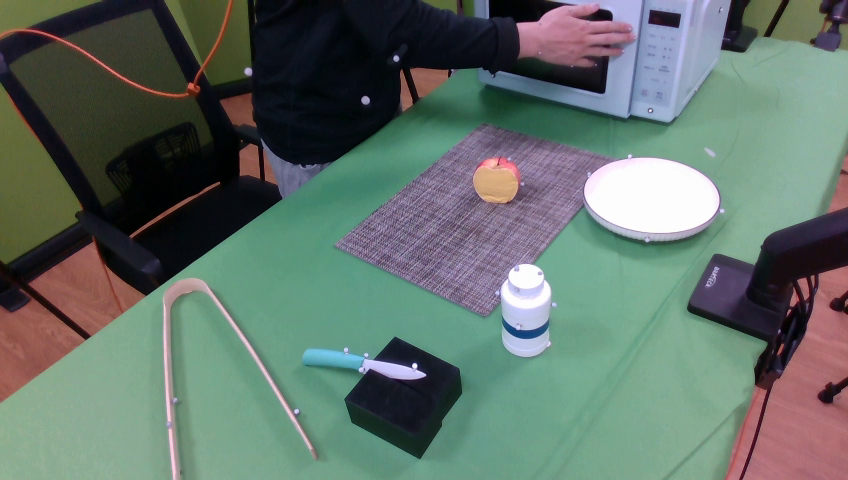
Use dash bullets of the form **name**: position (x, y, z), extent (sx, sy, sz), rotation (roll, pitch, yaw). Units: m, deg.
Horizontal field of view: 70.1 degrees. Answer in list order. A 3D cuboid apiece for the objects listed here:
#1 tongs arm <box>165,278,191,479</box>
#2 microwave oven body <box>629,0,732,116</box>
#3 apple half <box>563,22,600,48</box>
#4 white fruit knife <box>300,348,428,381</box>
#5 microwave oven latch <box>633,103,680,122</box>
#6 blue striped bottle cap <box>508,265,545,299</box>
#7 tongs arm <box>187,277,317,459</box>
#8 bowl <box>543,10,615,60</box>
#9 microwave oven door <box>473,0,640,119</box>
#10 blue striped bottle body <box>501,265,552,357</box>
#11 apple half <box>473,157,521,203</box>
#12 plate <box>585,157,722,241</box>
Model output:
- **tongs arm**: position (-0.313, 0.182, 0.789), extent (0.051, 0.026, 0.381), rotation (-19, 41, -14)
- **microwave oven body**: position (0.377, -0.463, 1.267), extent (0.438, 0.261, 0.327), rotation (21, 49, 30)
- **apple half**: position (0.333, -0.445, 1.299), extent (0.081, 0.033, 0.081), rotation (-15, 39, 13)
- **white fruit knife**: position (-0.079, 0.154, 0.748), extent (0.206, 0.027, 0.016), rotation (1, 21, 34)
- **microwave oven latch**: position (0.444, -0.249, 1.158), extent (0.078, 0.029, 0.030), rotation (21, 49, 30)
- **blue striped bottle cap**: position (0.125, 0.051, 0.734), extent (0.044, 0.021, 0.044), rotation (-4, 34, 3)
- **tongs arm**: position (-0.240, 0.154, 0.815), extent (0.028, 0.028, 0.384), rotation (-31, 46, -21)
- **bowl**: position (0.335, -0.438, 1.306), extent (0.151, 0.077, 0.151), rotation (-8, 29, 5)
- **microwave oven door**: position (0.252, -0.392, 1.194), extent (0.353, 0.245, 0.039), rotation (23, 49, 31)
- **blue striped bottle body**: position (0.130, 0.089, 0.769), extent (0.063, 0.121, 0.063), rotation (-4, 40, 4)
- **apple half**: position (0.127, -0.106, 1.030), extent (0.080, 0.075, 0.053), rotation (4, 36, 19)
- **plate**: position (0.367, -0.063, 0.979), extent (0.207, 0.039, 0.206), rotation (-4, 40, 4)
